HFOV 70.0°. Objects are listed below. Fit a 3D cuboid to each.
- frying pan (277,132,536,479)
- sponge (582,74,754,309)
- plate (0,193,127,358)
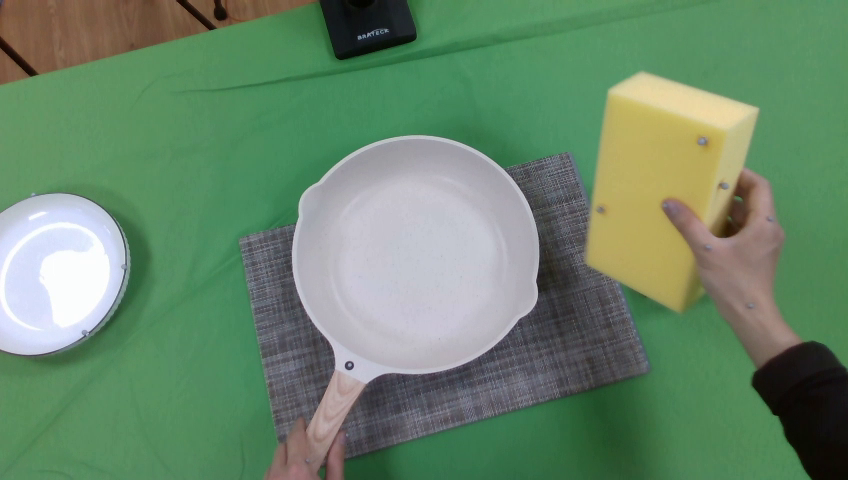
[{"bbox_3d":[-0.059,0.099,0.700,0.306,0.103,0.486,25,68,8],"label":"frying pan"},{"bbox_3d":[0.234,-0.046,0.609,0.061,0.208,0.117,-31,44,-32],"label":"sponge"},{"bbox_3d":[-0.472,0.044,0.758,0.208,0.039,0.206,0,74,0],"label":"plate"}]
